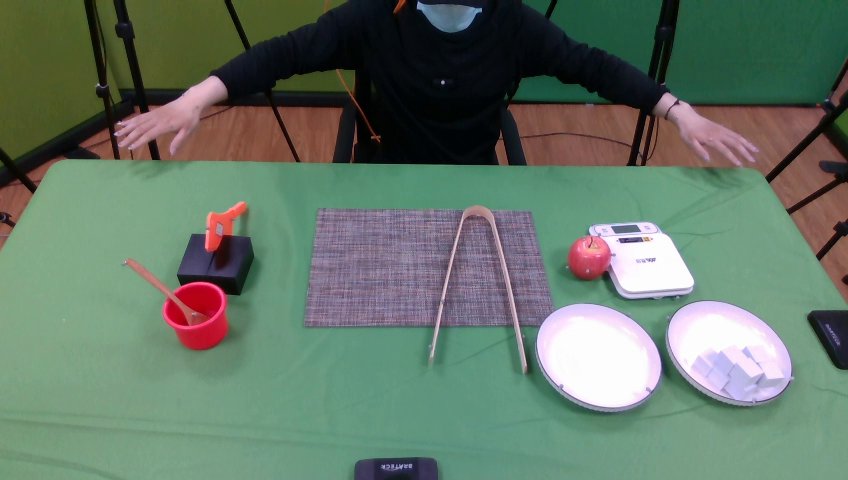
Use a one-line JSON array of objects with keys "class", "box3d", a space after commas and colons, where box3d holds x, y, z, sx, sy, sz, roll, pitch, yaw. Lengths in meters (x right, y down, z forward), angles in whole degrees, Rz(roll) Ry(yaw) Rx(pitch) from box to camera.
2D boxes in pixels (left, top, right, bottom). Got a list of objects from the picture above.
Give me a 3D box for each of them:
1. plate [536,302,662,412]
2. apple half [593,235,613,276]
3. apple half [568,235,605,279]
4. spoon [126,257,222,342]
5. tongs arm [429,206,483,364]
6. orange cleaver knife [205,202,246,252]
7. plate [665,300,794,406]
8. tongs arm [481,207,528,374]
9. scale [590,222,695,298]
[{"class": "plate", "box3d": [0.288, 0.197, 1.016, 0.209, 0.038, 0.208, 2, 46, -2]}, {"class": "apple half", "box3d": [0.340, 0.029, 1.155, 0.033, 0.082, 0.080, -10, 47, -8]}, {"class": "apple half", "box3d": [0.302, 0.035, 1.148, 0.053, 0.075, 0.080, -9, 51, -8]}, {"class": "spoon", "box3d": [-0.408, 0.096, 0.990, 0.194, 0.021, 0.041, 50, 53, -18]}, {"class": "tongs arm", "box3d": [0.064, 0.069, 1.124, 0.051, 0.026, 0.382, 8, 45, 5]}, {"class": "orange cleaver knife", "box3d": [-0.374, -0.029, 1.149, 0.012, 0.077, 0.211, 4, 13, 0]}, {"class": "plate", "box3d": [0.513, 0.194, 1.034, 0.208, 0.039, 0.206, 2, 46, -2]}, {"class": "tongs arm", "box3d": [0.149, 0.077, 1.124, 0.028, 0.028, 0.385, -4, 46, -2]}, {"class": "scale", "box3d": [0.424, 0.031, 1.189, 0.149, 0.032, 0.199, -3, 46, -7]}]
